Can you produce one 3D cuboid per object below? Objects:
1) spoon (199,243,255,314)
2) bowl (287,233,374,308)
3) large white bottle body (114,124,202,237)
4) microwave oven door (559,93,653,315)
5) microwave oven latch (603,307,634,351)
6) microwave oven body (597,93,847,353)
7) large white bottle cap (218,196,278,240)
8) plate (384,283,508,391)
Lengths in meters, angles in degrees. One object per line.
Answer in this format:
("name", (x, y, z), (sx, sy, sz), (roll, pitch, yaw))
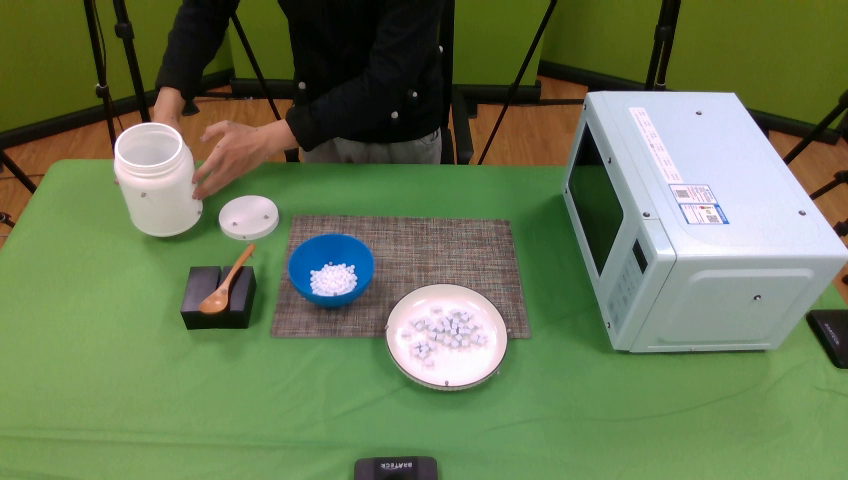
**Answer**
("spoon", (-0.333, 0.062, 1.051), (0.041, 0.022, 0.193), (6, 40, 9))
("bowl", (-0.165, 0.068, 1.078), (0.151, 0.077, 0.150), (3, 45, -3))
("large white bottle body", (-0.484, -0.108, 1.107), (0.131, 0.185, 0.130), (5, 52, -7))
("microwave oven door", (0.327, -0.074, 1.123), (0.039, 0.245, 0.353), (-1, 46, -5))
("microwave oven latch", (0.332, 0.153, 1.044), (0.030, 0.029, 0.078), (0, 45, -4))
("microwave oven body", (0.475, -0.041, 1.109), (0.326, 0.261, 0.438), (-1, 45, -4))
("large white bottle cap", (-0.354, -0.045, 1.221), (0.115, 0.018, 0.114), (2, 46, -2))
("plate", (0.036, 0.166, 1.029), (0.209, 0.038, 0.208), (2, 49, -2))
